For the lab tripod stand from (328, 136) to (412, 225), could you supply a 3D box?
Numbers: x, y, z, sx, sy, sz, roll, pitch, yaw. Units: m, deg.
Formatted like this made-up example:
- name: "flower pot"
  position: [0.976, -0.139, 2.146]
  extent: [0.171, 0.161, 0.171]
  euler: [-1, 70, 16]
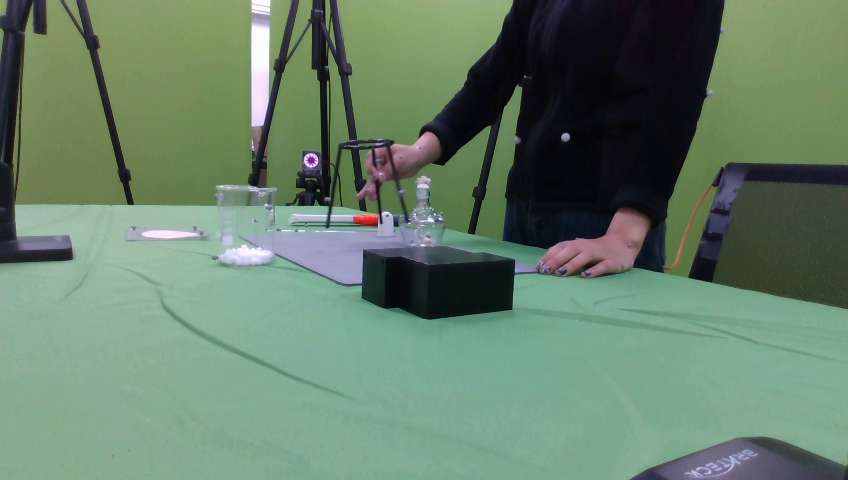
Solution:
- name: "lab tripod stand"
  position: [-0.084, -0.091, 0.942]
  extent: [0.148, 0.131, 0.148]
  euler: [-4, 4, 1]

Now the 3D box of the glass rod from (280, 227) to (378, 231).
- name: "glass rod"
  position: [-0.175, -0.021, 1.161]
  extent: [0.200, 0.008, 0.008]
  euler: [0, 7, -15]

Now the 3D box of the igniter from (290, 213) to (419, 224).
- name: "igniter"
  position: [-0.143, -0.046, 1.288]
  extent: [0.278, 0.025, 0.057]
  euler: [-1, -3, -24]

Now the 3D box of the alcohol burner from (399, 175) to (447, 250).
- name: "alcohol burner"
  position: [-0.002, -0.044, 0.961]
  extent: [0.078, 0.119, 0.078]
  euler: [0, 8, 0]

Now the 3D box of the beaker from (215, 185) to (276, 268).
- name: "beaker"
  position: [-0.226, -0.019, 0.773]
  extent: [0.074, 0.100, 0.084]
  euler: [5, 7, 14]

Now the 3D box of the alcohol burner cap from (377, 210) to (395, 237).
- name: "alcohol burner cap"
  position: [-0.069, -0.031, 1.112]
  extent: [0.034, 0.048, 0.034]
  euler: [2, 8, 0]

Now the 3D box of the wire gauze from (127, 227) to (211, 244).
- name: "wire gauze"
  position: [-0.420, -0.010, 0.999]
  extent: [0.122, 0.011, 0.124]
  euler: [-2, 10, -24]
